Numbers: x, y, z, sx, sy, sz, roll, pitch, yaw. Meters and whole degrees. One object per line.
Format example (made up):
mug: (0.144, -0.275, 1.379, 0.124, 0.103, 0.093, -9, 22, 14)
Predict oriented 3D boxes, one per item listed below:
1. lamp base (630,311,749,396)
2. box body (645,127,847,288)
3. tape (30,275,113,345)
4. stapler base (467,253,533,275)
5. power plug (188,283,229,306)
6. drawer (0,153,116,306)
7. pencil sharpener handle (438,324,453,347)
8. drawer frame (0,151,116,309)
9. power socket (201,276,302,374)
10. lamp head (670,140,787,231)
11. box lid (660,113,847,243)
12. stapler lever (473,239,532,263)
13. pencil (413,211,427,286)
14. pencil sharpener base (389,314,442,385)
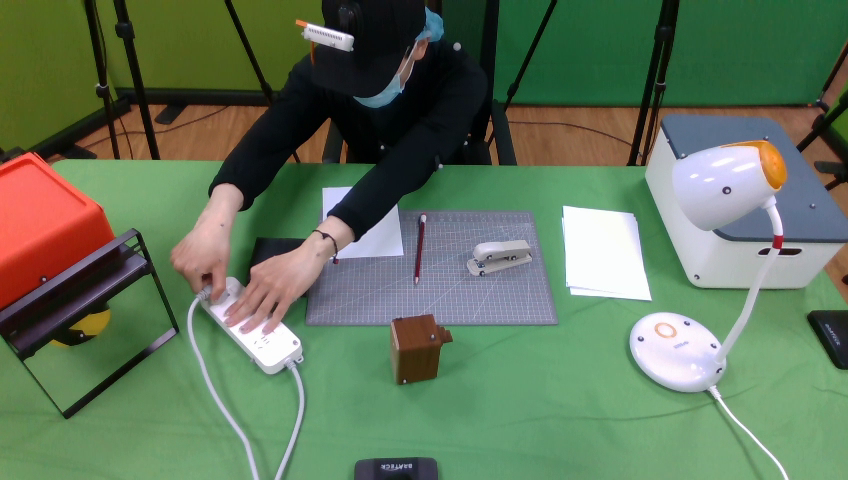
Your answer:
lamp base: (0.447, 0.143, 0.983, 0.161, 0.181, 0.178, -24, 55, -24)
box body: (0.625, -0.080, 1.222, 0.254, 0.161, 0.361, 0, 46, -3)
tape: (-0.594, 0.117, 1.021, 0.117, 0.053, 0.116, 3, 46, -2)
stapler base: (0.147, 0.034, 1.172, 0.131, 0.024, 0.041, -12, 50, -17)
power plug: (-0.370, 0.099, 1.034, 0.072, 0.053, 0.035, -24, 57, -29)
drawer: (-0.601, -0.015, 0.880, 0.193, 0.073, 0.211, 32, 53, 23)
pencil sharpener handle: (0.036, 0.155, 0.976, 0.031, 0.068, 0.036, -8, 69, -11)
drawer frame: (-0.604, -0.013, 0.876, 0.201, 0.083, 0.213, 31, 52, 23)
power socket: (-0.298, 0.141, 1.034, 0.225, 0.033, 0.072, 38, 55, 27)
lamp head: (0.415, -0.078, 0.811, 0.113, 0.123, 0.112, 13, 70, -37)
box lid: (0.628, -0.133, 1.171, 0.263, 0.015, 0.369, 1, 46, -3)
stapler lever: (0.150, 0.017, 1.155, 0.118, 0.040, 0.026, -13, 50, -17)
pencil: (-0.009, 0.014, 1.191, 0.012, 0.012, 0.193, 6, 49, 2)
pencil sharpener base: (-0.013, 0.175, 0.971, 0.077, 0.107, 0.061, -8, 47, -11)
